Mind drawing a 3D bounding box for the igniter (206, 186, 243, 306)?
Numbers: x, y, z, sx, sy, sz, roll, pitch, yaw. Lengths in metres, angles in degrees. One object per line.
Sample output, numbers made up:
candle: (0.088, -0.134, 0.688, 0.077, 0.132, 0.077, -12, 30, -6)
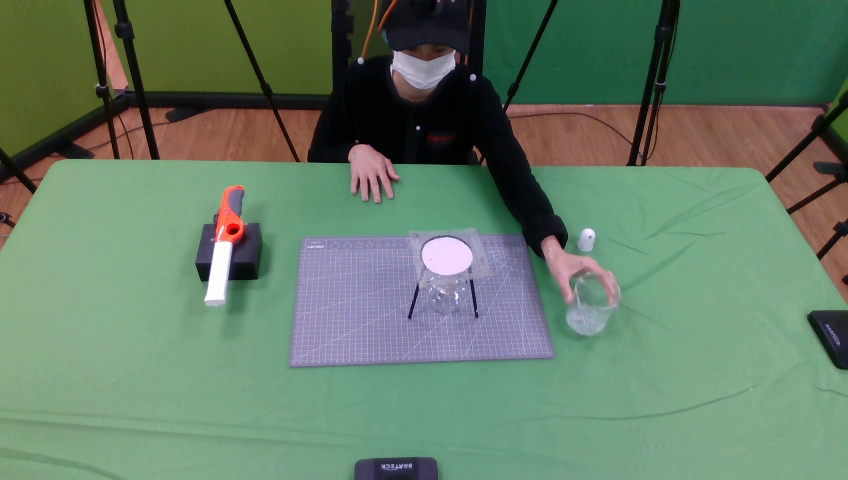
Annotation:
igniter: (-0.361, 0.001, 1.100, 0.057, 0.025, 0.274, -2, 49, -6)

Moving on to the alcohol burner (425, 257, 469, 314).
alcohol burner: (0.041, 0.074, 1.063, 0.078, 0.120, 0.077, 1, 46, -1)

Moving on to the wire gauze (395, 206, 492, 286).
wire gauze: (0.031, 0.010, 0.993, 0.125, 0.011, 0.120, -24, 57, -17)

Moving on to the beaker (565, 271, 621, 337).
beaker: (0.282, 0.114, 1.030, 0.084, 0.101, 0.073, -36, 60, -26)

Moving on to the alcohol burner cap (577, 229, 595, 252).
alcohol burner cap: (0.326, -0.002, 1.212, 0.034, 0.048, 0.033, 1, 47, -1)

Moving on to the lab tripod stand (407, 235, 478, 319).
lab tripod stand: (0.032, 0.065, 1.057, 0.148, 0.132, 0.147, 1, 45, -1)
